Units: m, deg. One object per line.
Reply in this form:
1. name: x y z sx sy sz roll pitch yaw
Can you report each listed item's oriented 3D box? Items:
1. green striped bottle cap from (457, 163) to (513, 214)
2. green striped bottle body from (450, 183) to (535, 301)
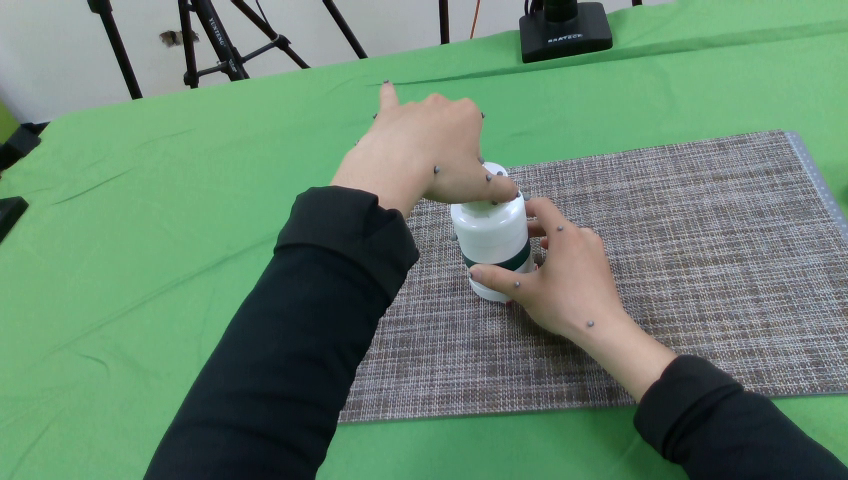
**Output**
1. green striped bottle cap: 0.049 -0.042 0.490 0.044 0.020 0.044 -13 44 13
2. green striped bottle body: 0.060 -0.006 0.529 0.063 0.120 0.062 -9 45 10
